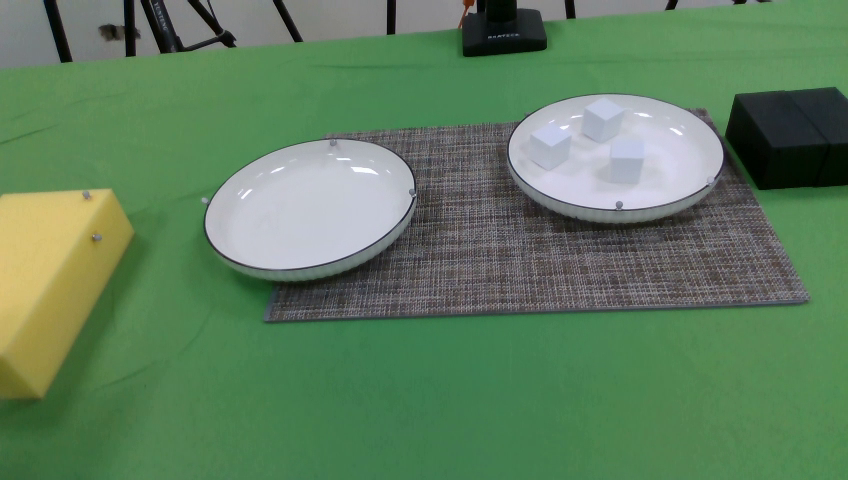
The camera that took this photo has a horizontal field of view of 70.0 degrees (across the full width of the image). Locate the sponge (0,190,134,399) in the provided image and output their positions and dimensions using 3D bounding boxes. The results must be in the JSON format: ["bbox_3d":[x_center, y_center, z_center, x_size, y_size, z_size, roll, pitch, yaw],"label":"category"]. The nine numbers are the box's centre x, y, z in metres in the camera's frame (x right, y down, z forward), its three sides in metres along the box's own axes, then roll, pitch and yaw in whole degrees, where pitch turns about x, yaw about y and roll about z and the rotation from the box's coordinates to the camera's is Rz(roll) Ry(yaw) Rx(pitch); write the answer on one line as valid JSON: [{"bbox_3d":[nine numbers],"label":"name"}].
[{"bbox_3d":[-0.368,0.042,0.550,0.118,0.061,0.205,-3,42,3],"label":"sponge"}]

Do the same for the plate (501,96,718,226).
[{"bbox_3d":[0.183,-0.079,0.617,0.207,0.039,0.205,-4,42,4],"label":"plate"}]

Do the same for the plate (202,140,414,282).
[{"bbox_3d":[-0.111,-0.028,0.603,0.209,0.038,0.207,-4,41,4],"label":"plate"}]
